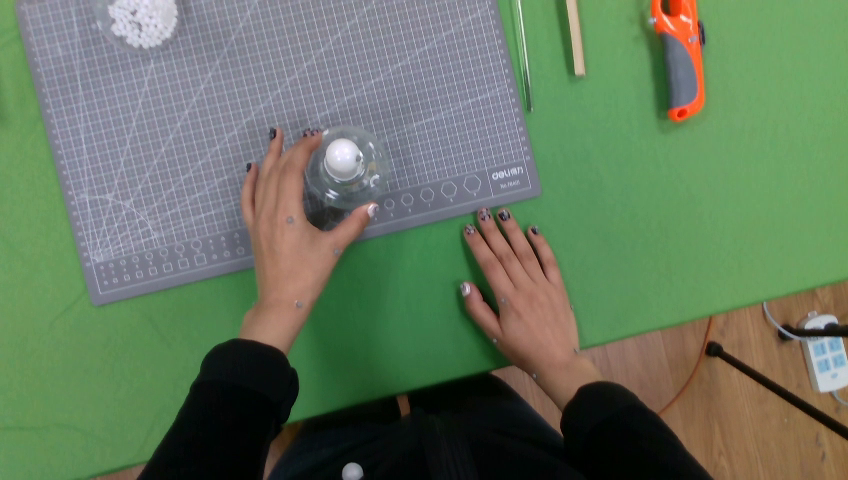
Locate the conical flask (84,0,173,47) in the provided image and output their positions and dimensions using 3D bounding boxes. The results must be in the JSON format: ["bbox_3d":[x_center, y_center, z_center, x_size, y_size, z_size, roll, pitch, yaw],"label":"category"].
[{"bbox_3d":[-0.269,-0.218,0.515,0.075,0.121,0.075,0,91,-5],"label":"conical flask"}]

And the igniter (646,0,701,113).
[{"bbox_3d":[0.247,-0.267,0.609,0.057,0.025,0.276,-7,92,-15],"label":"igniter"}]

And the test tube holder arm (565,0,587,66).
[{"bbox_3d":[0.140,-0.262,0.603,0.013,0.015,0.178,-12,92,32],"label":"test tube holder arm"}]

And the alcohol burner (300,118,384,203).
[{"bbox_3d":[-0.074,-0.073,0.540,0.078,0.119,0.078,0,90,-3],"label":"alcohol burner"}]

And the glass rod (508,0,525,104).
[{"bbox_3d":[0.087,-0.236,0.606,0.008,0.008,0.200,-8,94,-5],"label":"glass rod"}]

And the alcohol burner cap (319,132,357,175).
[{"bbox_3d":[-0.071,-0.074,0.504,0.034,0.048,0.034,0,87,-9],"label":"alcohol burner cap"}]
